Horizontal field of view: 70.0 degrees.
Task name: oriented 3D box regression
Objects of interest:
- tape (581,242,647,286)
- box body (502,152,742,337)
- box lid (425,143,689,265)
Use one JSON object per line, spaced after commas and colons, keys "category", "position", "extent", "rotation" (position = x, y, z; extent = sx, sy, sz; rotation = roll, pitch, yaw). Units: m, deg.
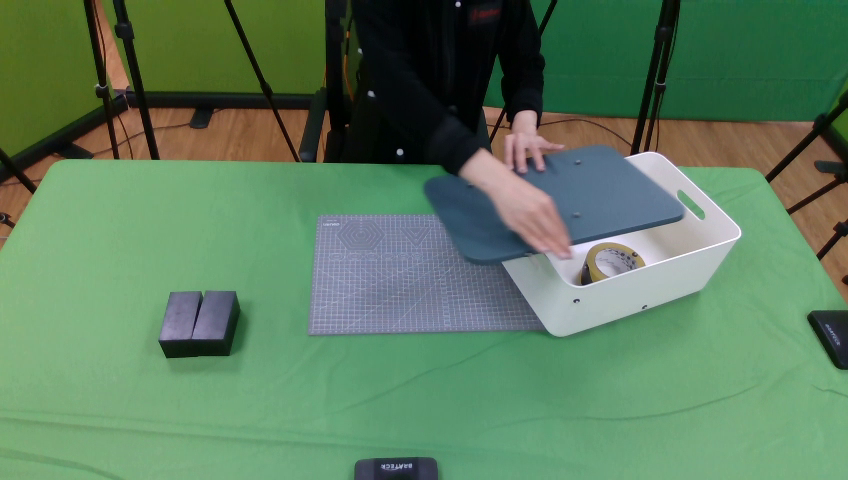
{"category": "tape", "position": [0.355, 0.060, 1.131], "extent": [0.117, 0.053, 0.116], "rotation": [3, 46, -3]}
{"category": "box body", "position": [0.340, 0.004, 1.118], "extent": [0.364, 0.161, 0.252], "rotation": [-15, 49, -18]}
{"category": "box lid", "position": [0.205, -0.071, 0.993], "extent": [0.372, 0.015, 0.261], "rotation": [-13, 36, -12]}
